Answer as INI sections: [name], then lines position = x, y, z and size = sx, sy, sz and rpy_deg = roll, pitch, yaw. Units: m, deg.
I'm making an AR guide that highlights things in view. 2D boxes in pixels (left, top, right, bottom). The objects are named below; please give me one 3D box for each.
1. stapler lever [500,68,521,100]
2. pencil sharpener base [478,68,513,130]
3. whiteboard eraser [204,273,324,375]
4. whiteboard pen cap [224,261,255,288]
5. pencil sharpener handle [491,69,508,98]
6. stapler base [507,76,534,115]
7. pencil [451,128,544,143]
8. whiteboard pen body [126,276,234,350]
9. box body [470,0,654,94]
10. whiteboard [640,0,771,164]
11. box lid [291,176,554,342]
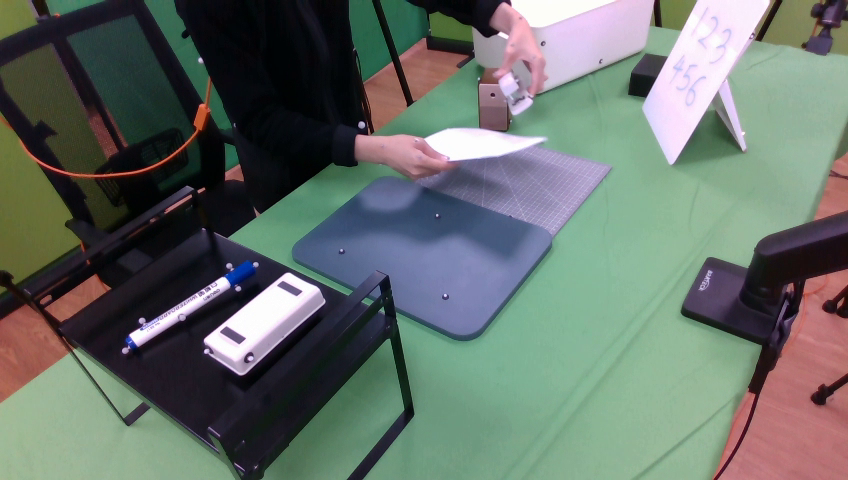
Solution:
[stapler lever]
position = 0.150, -0.282, 1.070
size = 0.027, 0.040, 0.117
rpy_deg = -30, 30, 18
[pencil sharpener base]
position = 0.148, -0.286, 1.225
size = 0.061, 0.107, 0.076
rpy_deg = 5, 41, 15
[whiteboard eraser]
position = -0.157, 0.084, 0.605
size = 0.055, 0.042, 0.113
rpy_deg = 24, 49, 30
[whiteboard pen cap]
position = -0.207, 0.039, 0.677
size = 0.033, 0.018, 0.018
rpy_deg = -36, 47, -18
[pencil sharpener handle]
position = 0.155, -0.329, 1.254
size = 0.036, 0.068, 0.030
rpy_deg = 17, 43, 4
[stapler base]
position = 0.165, -0.265, 1.080
size = 0.041, 0.024, 0.130
rpy_deg = -30, 30, 18
[pencil]
position = 0.145, -0.207, 1.206
size = 0.193, 0.012, 0.012
rpy_deg = 11, 44, 19
[whiteboard pen body]
position = -0.251, 0.070, 0.649
size = 0.141, 0.017, 0.017
rpy_deg = -36, 48, -26
[box body]
position = 0.319, -0.498, 1.405
size = 0.365, 0.161, 0.252
rpy_deg = -26, 43, -21
[whiteboard]
position = 0.543, -0.299, 1.076
size = 0.144, 0.305, 0.216
rpy_deg = 12, 40, -7
[box lid]
position = -0.005, 0.011, 0.972
size = 0.368, 0.015, 0.264
rpy_deg = 21, 49, 30
